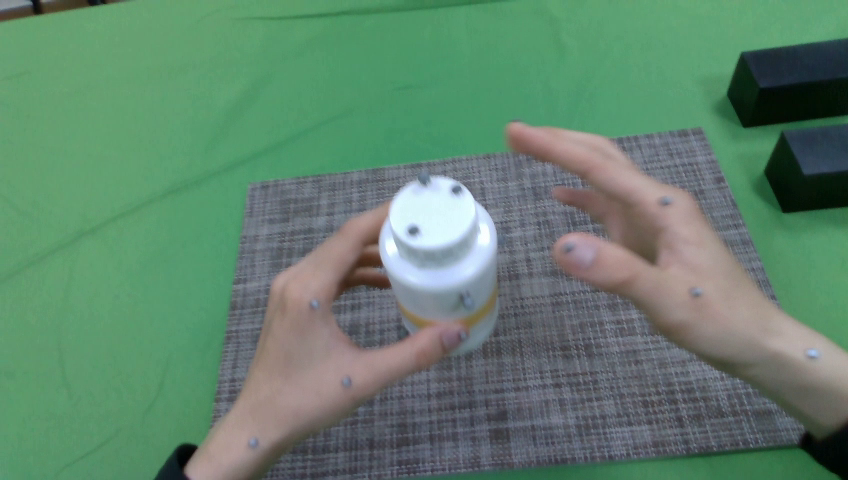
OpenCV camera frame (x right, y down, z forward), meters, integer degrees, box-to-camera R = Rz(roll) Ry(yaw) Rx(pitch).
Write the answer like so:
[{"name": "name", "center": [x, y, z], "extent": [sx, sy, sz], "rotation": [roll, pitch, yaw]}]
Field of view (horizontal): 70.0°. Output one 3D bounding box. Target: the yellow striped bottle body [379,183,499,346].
[{"name": "yellow striped bottle body", "center": [0.008, 0.013, 0.343], "extent": [0.063, 0.121, 0.062], "rotation": [-1, 62, 1]}]

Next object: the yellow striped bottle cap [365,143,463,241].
[{"name": "yellow striped bottle cap", "center": [-0.004, -0.022, 0.281], "extent": [0.044, 0.019, 0.044], "rotation": [-5, 66, 11]}]
